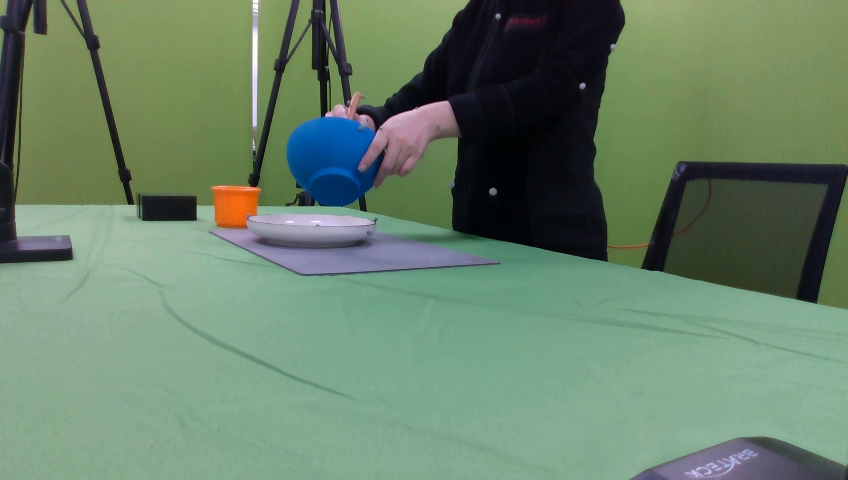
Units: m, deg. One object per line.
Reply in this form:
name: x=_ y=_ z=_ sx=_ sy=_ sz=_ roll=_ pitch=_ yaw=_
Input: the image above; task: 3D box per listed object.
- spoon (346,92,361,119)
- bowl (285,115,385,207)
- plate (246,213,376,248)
spoon: x=-0.130 y=-0.165 z=0.964 sx=0.041 sy=0.193 sz=0.021 roll=12 pitch=-34 yaw=-1
bowl: x=-0.133 y=-0.103 z=0.899 sx=0.151 sy=0.076 sz=0.151 roll=-2 pitch=-37 yaw=-1
plate: x=-0.185 y=-0.017 z=0.994 sx=0.209 sy=0.038 sz=0.209 roll=3 pitch=8 yaw=0
